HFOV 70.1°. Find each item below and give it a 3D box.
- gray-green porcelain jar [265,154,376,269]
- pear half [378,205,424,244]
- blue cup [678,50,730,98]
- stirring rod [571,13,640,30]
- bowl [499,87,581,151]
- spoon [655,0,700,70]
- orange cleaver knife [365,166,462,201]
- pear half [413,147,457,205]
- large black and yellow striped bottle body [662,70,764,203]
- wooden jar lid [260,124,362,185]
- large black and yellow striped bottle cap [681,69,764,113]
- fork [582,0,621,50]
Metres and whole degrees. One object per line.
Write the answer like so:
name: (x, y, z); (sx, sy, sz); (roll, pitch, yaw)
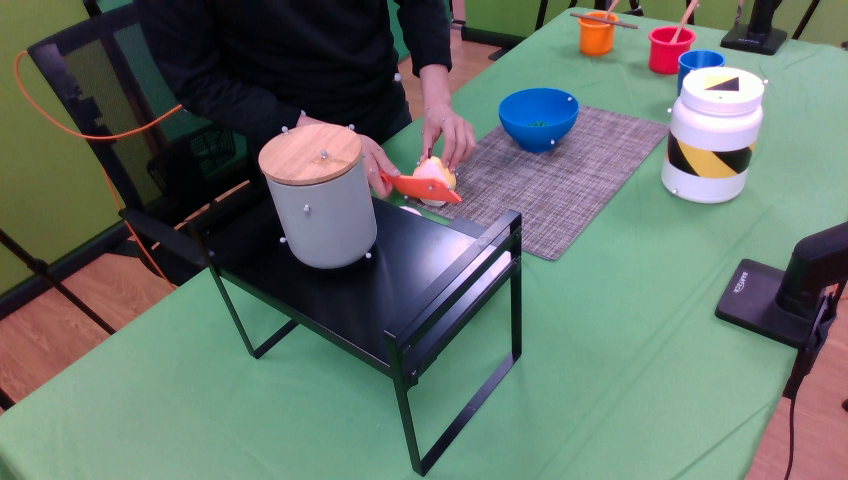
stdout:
gray-green porcelain jar: (-0.112, -0.039, 0.685); (0.106, 0.127, 0.105); (-4, 40, 4)
pear half: (-0.040, -0.018, 0.998); (0.070, 0.031, 0.088); (38, 66, 23)
blue cup: (0.542, -0.310, 1.194); (0.092, 0.101, 0.092); (-6, 41, 6)
stirring rod: (0.418, -0.508, 1.403); (0.174, 0.006, 0.014); (28, 53, 35)
bowl: (0.220, -0.223, 1.156); (0.151, 0.077, 0.150); (-4, 40, 4)
spoon: (0.568, -0.463, 1.336); (0.041, 0.022, 0.193); (30, 97, 37)
orange cleaver knife: (-0.031, -0.096, 1.023); (0.209, 0.078, 0.012); (13, 66, 34)
pear half: (0.021, -0.119, 1.042); (0.076, 0.110, 0.056); (12, 43, 17)
large black and yellow striped bottle body: (0.464, -0.166, 0.976); (0.131, 0.185, 0.130); (-5, 41, 5)
wooden jar lid: (-0.119, -0.088, 0.644); (0.108, 0.021, 0.108); (-4, 40, 3)
large black and yellow striped bottle cap: (0.453, -0.229, 0.921); (0.115, 0.019, 0.114); (-4, 39, 4)
fork: (0.446, -0.539, 1.438); (0.207, 0.019, 0.028); (-57, 35, 12)
